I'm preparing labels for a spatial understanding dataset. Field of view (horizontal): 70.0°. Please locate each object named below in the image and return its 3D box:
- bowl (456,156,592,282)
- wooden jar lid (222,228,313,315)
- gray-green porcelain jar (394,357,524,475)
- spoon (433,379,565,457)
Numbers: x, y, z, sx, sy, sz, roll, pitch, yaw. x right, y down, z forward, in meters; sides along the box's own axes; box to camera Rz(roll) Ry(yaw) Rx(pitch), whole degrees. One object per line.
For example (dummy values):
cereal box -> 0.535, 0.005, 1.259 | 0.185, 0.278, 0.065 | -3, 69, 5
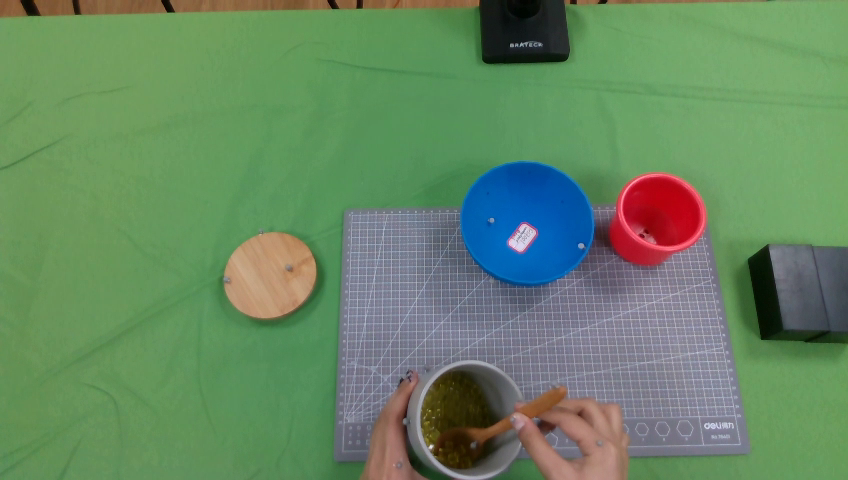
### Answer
bowl -> 0.112, -0.013, 0.707 | 0.151, 0.077, 0.150 | 0, 69, 1
wooden jar lid -> -0.186, 0.039, 0.725 | 0.108, 0.021, 0.107 | 0, 69, 1
gray-green porcelain jar -> 0.028, 0.174, 0.604 | 0.106, 0.127, 0.105 | 4, 74, -13
spoon -> 0.066, 0.168, 0.564 | 0.041, 0.194, 0.021 | 50, 49, 4
